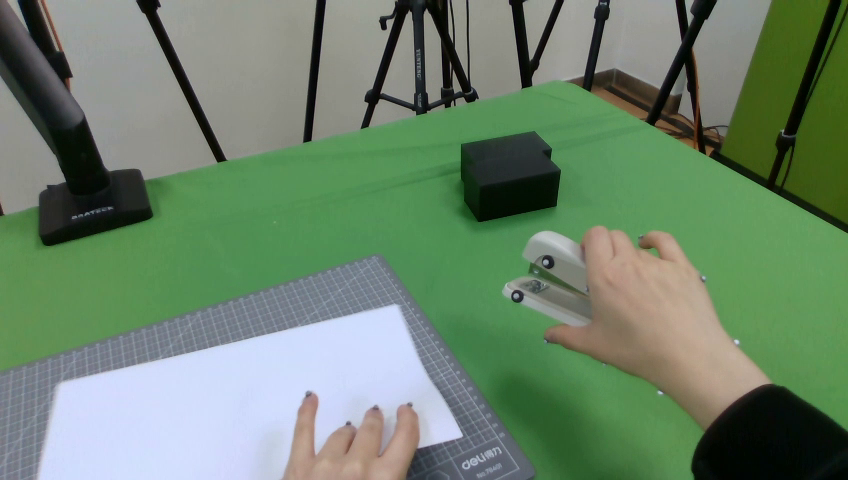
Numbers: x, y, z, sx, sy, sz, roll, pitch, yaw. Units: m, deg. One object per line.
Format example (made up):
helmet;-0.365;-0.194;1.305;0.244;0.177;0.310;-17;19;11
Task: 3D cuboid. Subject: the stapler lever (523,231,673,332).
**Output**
stapler lever;0.127;0.027;0.450;0.117;0.040;0.027;24;26;33

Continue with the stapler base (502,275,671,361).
stapler base;0.122;0.050;0.459;0.129;0.024;0.041;24;26;33
